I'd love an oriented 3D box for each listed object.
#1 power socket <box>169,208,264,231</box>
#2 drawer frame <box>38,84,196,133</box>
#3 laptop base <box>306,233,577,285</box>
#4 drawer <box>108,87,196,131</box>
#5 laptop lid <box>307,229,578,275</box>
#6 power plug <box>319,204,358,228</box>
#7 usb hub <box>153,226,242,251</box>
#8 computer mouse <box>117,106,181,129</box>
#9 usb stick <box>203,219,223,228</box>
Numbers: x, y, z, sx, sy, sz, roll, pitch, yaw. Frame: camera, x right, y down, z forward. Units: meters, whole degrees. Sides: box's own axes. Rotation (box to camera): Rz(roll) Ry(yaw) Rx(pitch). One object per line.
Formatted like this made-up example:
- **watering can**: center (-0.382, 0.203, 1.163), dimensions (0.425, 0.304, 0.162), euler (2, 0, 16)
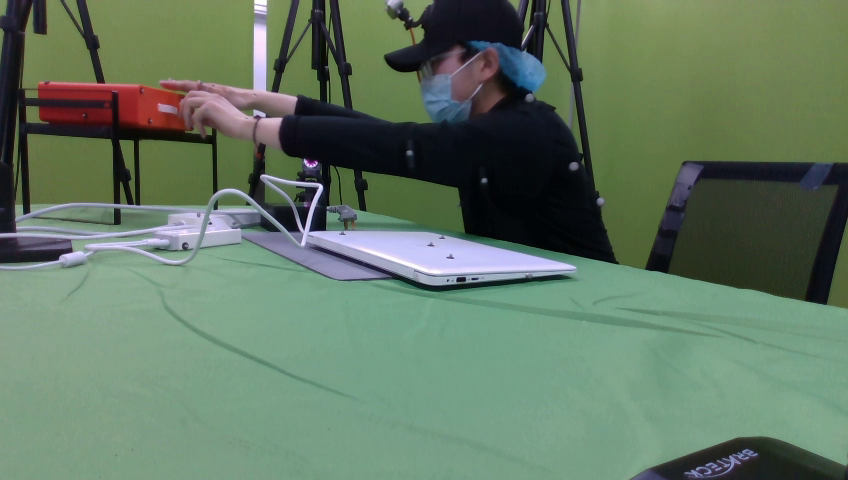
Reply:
- **power socket**: center (-0.381, -0.038, 1.128), dimensions (0.072, 0.032, 0.227), euler (4, 8, 16)
- **drawer frame**: center (-0.612, -0.265, 1.229), dimensions (0.213, 0.082, 0.202), euler (3, 8, 7)
- **laptop base**: center (0.007, 0.022, 0.850), dimensions (0.237, 0.023, 0.352), euler (1, 7, -34)
- **drawer**: center (-0.609, -0.264, 1.229), dimensions (0.211, 0.073, 0.194), euler (2, 8, 9)
- **laptop lid**: center (0.009, 0.010, 0.850), dimensions (0.243, 0.013, 0.355), euler (0, 8, -32)
- **power plug**: center (-0.169, -0.045, 1.207), dimensions (0.072, 0.052, 0.035), euler (-8, -11, -1)
- **usb hub**: center (-0.337, -0.003, 0.907), dimensions (0.049, 0.025, 0.125), euler (6, 9, 28)
- **computer mouse**: center (-0.566, -0.252, 1.242), dimensions (0.062, 0.041, 0.118), euler (19, 28, 41)
- **usb stick**: center (-0.346, -0.018, 1.010), dimensions (0.027, 0.021, 0.059), euler (45, -8, 1)
